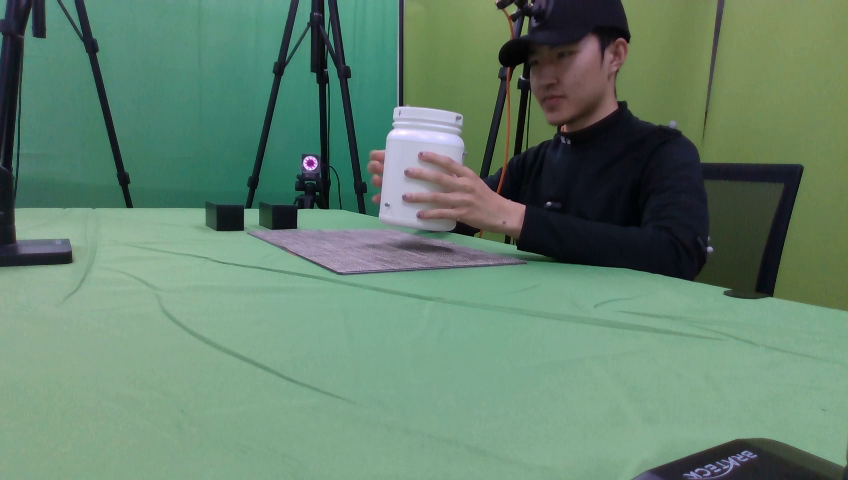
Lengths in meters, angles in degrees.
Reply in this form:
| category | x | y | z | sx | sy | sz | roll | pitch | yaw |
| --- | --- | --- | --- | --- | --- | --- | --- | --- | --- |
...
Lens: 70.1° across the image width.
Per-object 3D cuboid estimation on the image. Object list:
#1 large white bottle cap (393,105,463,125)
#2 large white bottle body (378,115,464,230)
| category | x | y | z | sx | sy | sz | roll | pitch | yaw |
| --- | --- | --- | --- | --- | --- | --- | --- | --- | --- |
| large white bottle cap | 0.006 | -0.204 | 0.987 | 0.115 | 0.018 | 0.115 | 6 | 6 | 0 |
| large white bottle body | -0.003 | -0.116 | 0.997 | 0.131 | 0.184 | 0.130 | 6 | 7 | 0 |
